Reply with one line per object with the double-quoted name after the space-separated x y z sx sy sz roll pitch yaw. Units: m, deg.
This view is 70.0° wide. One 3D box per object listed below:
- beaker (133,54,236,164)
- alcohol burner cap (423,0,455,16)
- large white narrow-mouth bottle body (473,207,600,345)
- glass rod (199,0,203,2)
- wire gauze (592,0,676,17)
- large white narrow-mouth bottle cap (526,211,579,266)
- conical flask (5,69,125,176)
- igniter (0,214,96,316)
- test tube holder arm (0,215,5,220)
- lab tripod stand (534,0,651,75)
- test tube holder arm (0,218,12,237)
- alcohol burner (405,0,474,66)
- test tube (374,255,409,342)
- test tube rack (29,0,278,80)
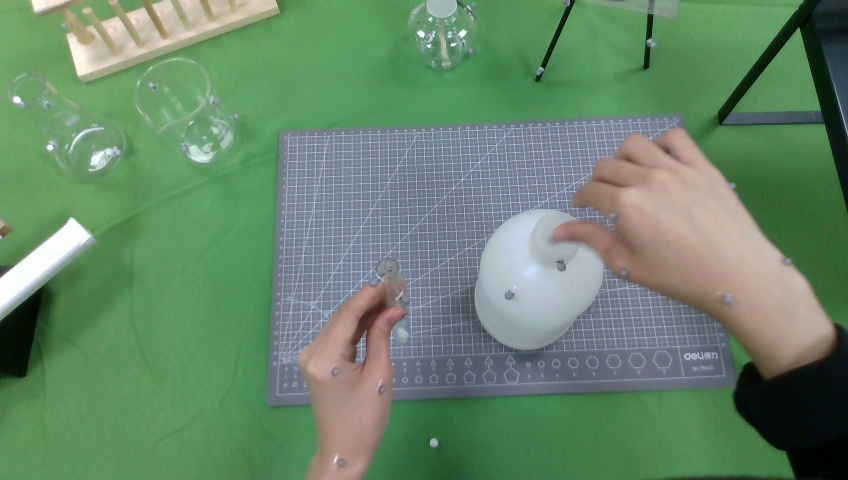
-0.244 -0.129 0.631 0.074 0.101 0.083 12 71 6 "beaker"
0.015 -0.260 0.628 0.034 0.048 0.033 0 69 0 "alcohol burner cap"
0.096 0.027 0.520 0.102 0.196 0.101 0 71 2 "large white narrow-mouth bottle body"
-0.280 -0.331 0.639 0.008 0.201 0.008 -3 64 6 "glass rod"
0.193 -0.277 0.587 0.121 0.011 0.124 18 73 5 "wire gauze"
0.092 -0.001 0.434 0.038 0.024 0.037 0 72 1 "large white narrow-mouth bottle cap"
-0.370 -0.123 0.619 0.075 0.122 0.075 0 70 1 "conical flask"
-0.423 0.080 0.550 0.057 0.025 0.276 41 73 12 "igniter"
-0.471 0.040 0.567 0.013 0.015 0.178 41 75 14 "test tube holder arm"
0.187 -0.252 0.650 0.148 0.132 0.147 0 69 0 "lab tripod stand"
-0.436 0.012 0.577 0.010 0.015 0.088 42 76 14 "test tube holder arm"
0.017 -0.247 0.662 0.078 0.120 0.077 0 69 0 "alcohol burner"
-0.022 0.049 0.455 0.017 0.151 0.017 -1 64 2 "test tube"
-0.301 -0.273 0.690 0.242 0.086 0.066 -22 72 -7 "test tube rack"
